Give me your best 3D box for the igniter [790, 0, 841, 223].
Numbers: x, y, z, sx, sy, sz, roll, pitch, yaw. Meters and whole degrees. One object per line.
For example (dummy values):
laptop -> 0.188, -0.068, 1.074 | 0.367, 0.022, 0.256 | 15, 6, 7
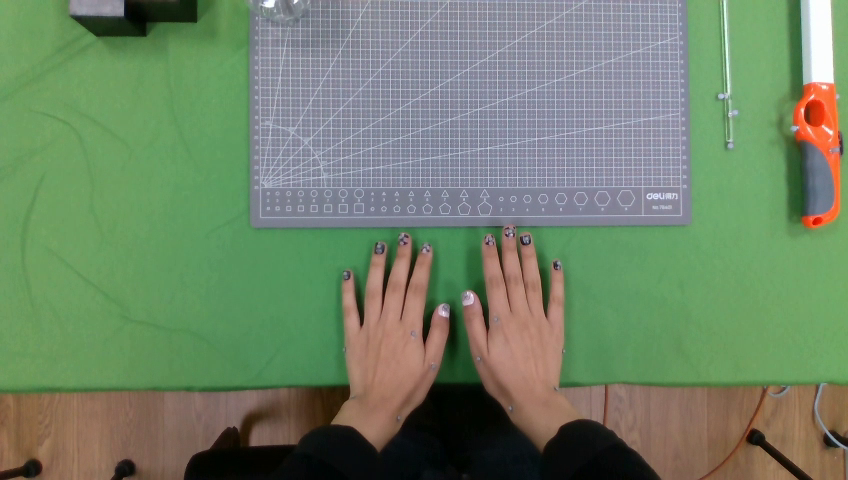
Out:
igniter -> 0.405, -0.156, 0.629 | 0.057, 0.025, 0.276 | 0, 89, -14

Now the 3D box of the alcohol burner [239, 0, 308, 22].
alcohol burner -> -0.143, -0.249, 0.557 | 0.078, 0.119, 0.078 | 0, 89, -1

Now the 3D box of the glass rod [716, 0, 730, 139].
glass rod -> 0.312, -0.205, 0.635 | 0.008, 0.008, 0.199 | -2, 89, -3
